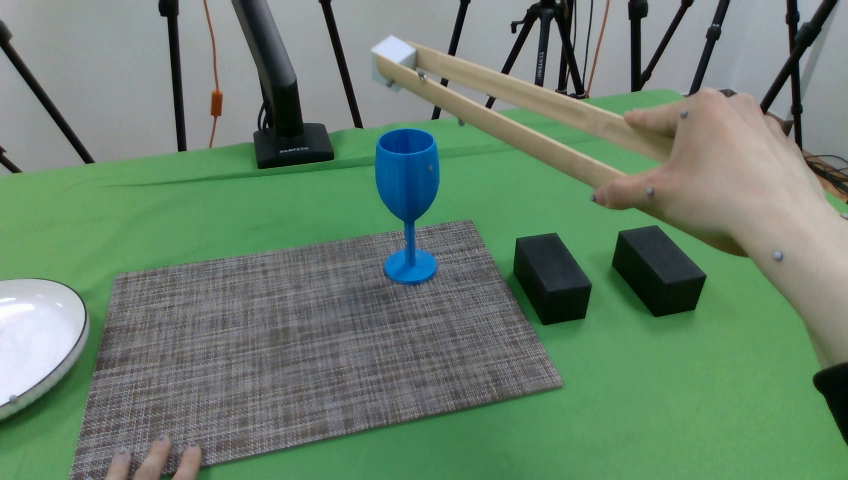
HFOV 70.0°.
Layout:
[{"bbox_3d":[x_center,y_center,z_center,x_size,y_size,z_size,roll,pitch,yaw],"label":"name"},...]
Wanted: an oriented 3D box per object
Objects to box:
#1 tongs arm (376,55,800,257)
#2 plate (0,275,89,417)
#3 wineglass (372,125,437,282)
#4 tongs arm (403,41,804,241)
[{"bbox_3d":[0.093,-0.087,0.481,0.051,0.027,0.380,-33,49,-24],"label":"tongs arm"},{"bbox_3d":[-0.446,0.114,0.609,0.209,0.038,0.207,0,37,1],"label":"plate"},{"bbox_3d":[-0.020,-0.038,0.689,0.074,0.174,0.073,0,37,1],"label":"wineglass"},{"bbox_3d":[0.110,-0.100,0.492,0.028,0.028,0.383,-34,49,-29],"label":"tongs arm"}]
